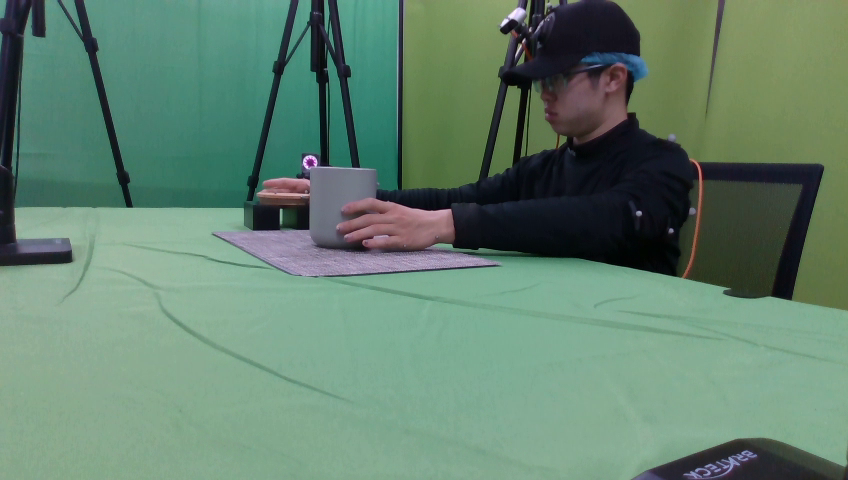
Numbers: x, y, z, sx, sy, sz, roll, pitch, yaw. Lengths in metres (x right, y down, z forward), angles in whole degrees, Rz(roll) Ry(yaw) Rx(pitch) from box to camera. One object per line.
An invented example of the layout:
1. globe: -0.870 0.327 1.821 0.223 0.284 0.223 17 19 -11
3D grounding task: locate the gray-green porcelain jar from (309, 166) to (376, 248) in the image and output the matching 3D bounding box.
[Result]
1. gray-green porcelain jar: -0.130 -0.054 0.966 0.106 0.126 0.106 2 7 0

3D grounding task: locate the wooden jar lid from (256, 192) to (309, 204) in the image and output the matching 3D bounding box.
1. wooden jar lid: -0.283 -0.085 1.223 0.108 0.020 0.108 3 7 0
